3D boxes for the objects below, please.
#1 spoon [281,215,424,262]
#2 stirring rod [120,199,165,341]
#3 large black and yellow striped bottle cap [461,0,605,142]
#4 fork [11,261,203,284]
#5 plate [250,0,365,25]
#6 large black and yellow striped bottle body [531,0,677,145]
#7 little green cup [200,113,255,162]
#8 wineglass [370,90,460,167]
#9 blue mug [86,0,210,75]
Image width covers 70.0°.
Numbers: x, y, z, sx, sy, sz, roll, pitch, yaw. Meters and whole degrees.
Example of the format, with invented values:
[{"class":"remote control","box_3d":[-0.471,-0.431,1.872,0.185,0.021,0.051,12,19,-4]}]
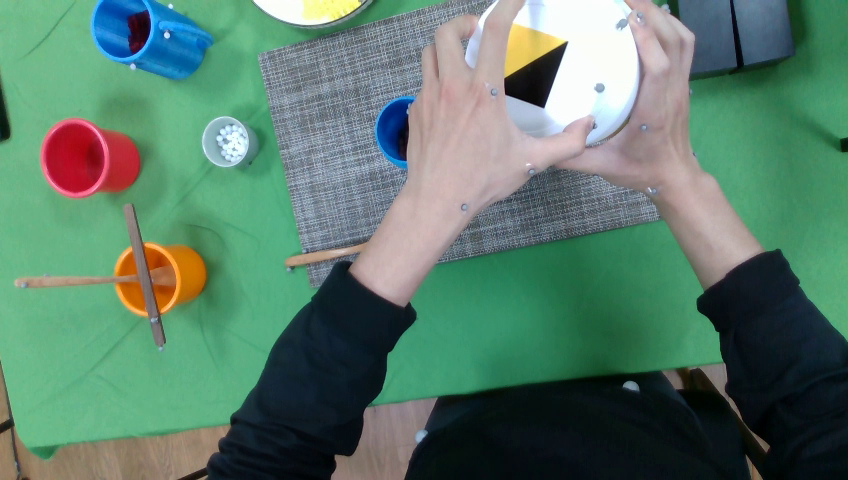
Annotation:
[{"class":"spoon","box_3d":[-0.092,0.004,0.749,0.193,0.021,0.042,-13,114,11]},{"class":"stirring rod","box_3d":[-0.340,0.037,0.733,0.014,0.006,0.176,-12,93,12]},{"class":"large black and yellow striped bottle cap","box_3d":[0.078,-0.132,0.457,0.114,0.019,0.115,11,110,34]},{"class":"fork","box_3d":[-0.382,0.042,0.744,0.208,0.018,0.028,-2,103,-33]},{"class":"plate","box_3d":[-0.134,-0.360,0.719,0.209,0.038,0.209,1,96,10]},{"class":"large black and yellow striped bottle body","box_3d":[0.129,-0.153,0.521,0.130,0.184,0.131,13,112,34]},{"class":"little green cup","box_3d":[-0.244,-0.127,0.760,0.061,0.038,0.061,1,96,11]},{"class":"wineglass","box_3d":[-0.004,-0.114,0.646,0.073,0.172,0.074,1,94,11]},{"class":"blue mug","box_3d":[-0.319,-0.249,0.728,0.116,0.106,0.082,2,95,10]}]
